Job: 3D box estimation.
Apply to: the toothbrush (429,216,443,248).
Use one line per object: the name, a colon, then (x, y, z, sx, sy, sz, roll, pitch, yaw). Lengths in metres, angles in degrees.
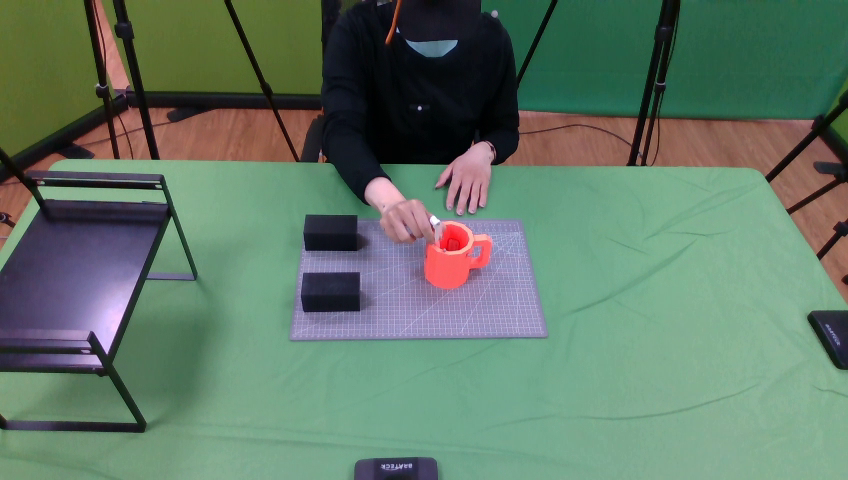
toothbrush: (0.023, -0.007, 1.069, 0.016, 0.182, 0.014, 31, 78, 13)

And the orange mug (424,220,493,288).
orange mug: (0.063, 0.023, 1.119, 0.126, 0.101, 0.083, -9, 47, -7)
